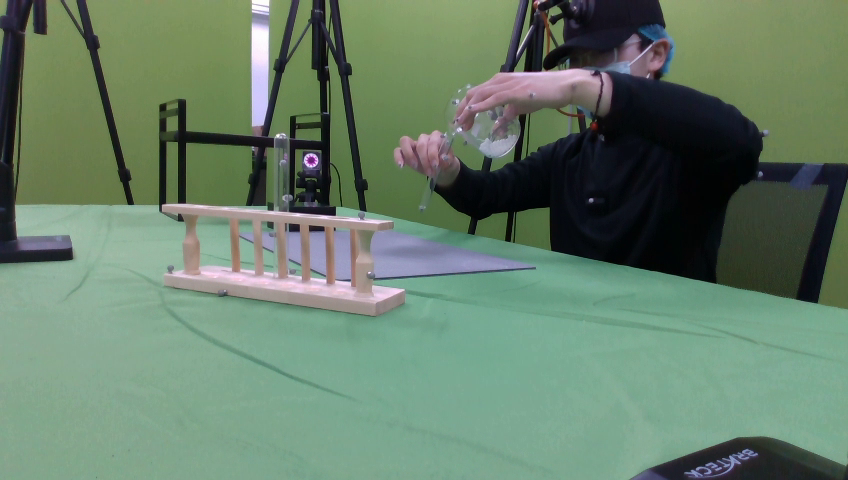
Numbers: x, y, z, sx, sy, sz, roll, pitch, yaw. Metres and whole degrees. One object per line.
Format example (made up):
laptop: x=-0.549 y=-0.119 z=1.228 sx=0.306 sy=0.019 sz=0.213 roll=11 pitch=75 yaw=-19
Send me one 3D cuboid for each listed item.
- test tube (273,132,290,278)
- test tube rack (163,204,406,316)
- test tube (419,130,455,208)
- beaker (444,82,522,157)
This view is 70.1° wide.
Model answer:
test tube: x=-0.146 y=-0.034 z=0.617 sx=0.017 sy=0.150 sz=0.017 roll=2 pitch=8 yaw=0
test tube rack: x=-0.141 y=0.013 z=0.601 sx=0.241 sy=0.085 sz=0.067 roll=5 pitch=8 yaw=21
test tube: x=0.019 y=-0.110 z=0.968 sx=0.017 sy=0.150 sz=0.017 roll=13 pitch=39 yaw=-11
beaker: x=0.087 y=-0.173 z=0.885 sx=0.074 sy=0.084 sz=0.100 roll=8 pitch=31 yaw=-47
